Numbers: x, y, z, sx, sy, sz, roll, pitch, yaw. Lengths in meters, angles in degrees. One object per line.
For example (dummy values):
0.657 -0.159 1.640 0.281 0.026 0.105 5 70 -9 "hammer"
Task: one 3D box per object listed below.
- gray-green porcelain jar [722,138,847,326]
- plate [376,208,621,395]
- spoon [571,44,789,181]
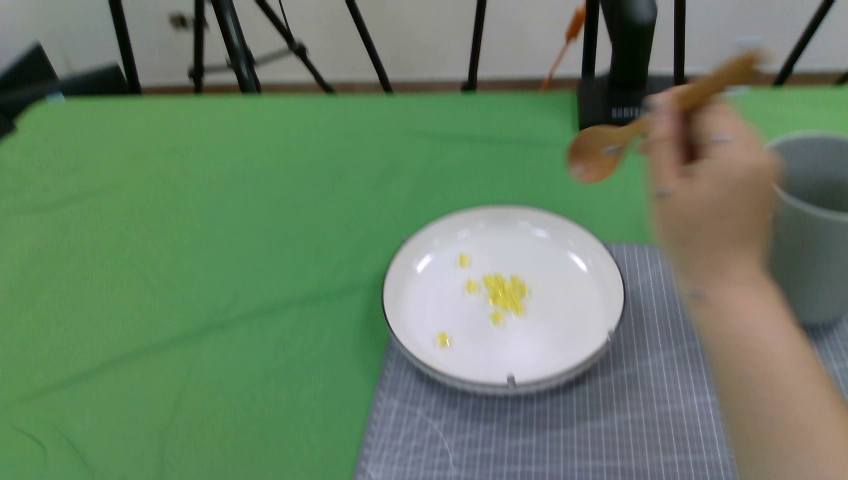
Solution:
0.308 -0.001 0.490 0.106 0.128 0.105 -4 43 4 "gray-green porcelain jar"
0.063 0.052 0.533 0.207 0.039 0.205 -4 43 4 "plate"
0.147 -0.074 0.383 0.022 0.193 0.041 -16 87 -14 "spoon"
